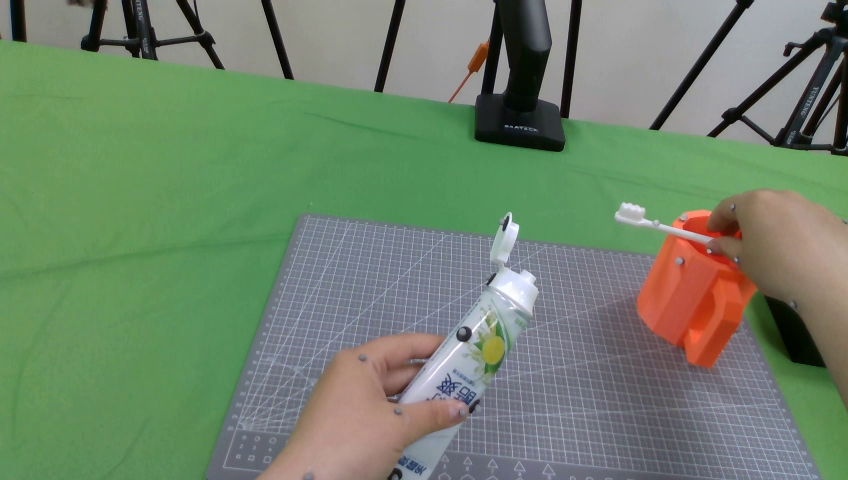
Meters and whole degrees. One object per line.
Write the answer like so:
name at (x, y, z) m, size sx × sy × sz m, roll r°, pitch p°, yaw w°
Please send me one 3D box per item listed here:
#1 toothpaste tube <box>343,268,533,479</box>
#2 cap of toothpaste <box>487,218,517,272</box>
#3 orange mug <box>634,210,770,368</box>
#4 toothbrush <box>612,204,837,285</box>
toothpaste tube at (0.017, 0.086, 0.383) m, size 0.055 × 0.165 × 0.034 m, roll 36°, pitch -5°, yaw -15°
cap of toothpaste at (0.052, 0.003, 0.393) m, size 0.011 × 0.037 × 0.037 m, roll 21°, pitch 40°, yaw 7°
orange mug at (0.246, 0.047, 0.536) m, size 0.083 × 0.101 × 0.125 m, roll 12°, pitch 36°, yaw 4°
toothbrush at (0.249, 0.003, 0.506) m, size 0.181 × 0.017 × 0.014 m, roll 19°, pitch 33°, yaw 12°
